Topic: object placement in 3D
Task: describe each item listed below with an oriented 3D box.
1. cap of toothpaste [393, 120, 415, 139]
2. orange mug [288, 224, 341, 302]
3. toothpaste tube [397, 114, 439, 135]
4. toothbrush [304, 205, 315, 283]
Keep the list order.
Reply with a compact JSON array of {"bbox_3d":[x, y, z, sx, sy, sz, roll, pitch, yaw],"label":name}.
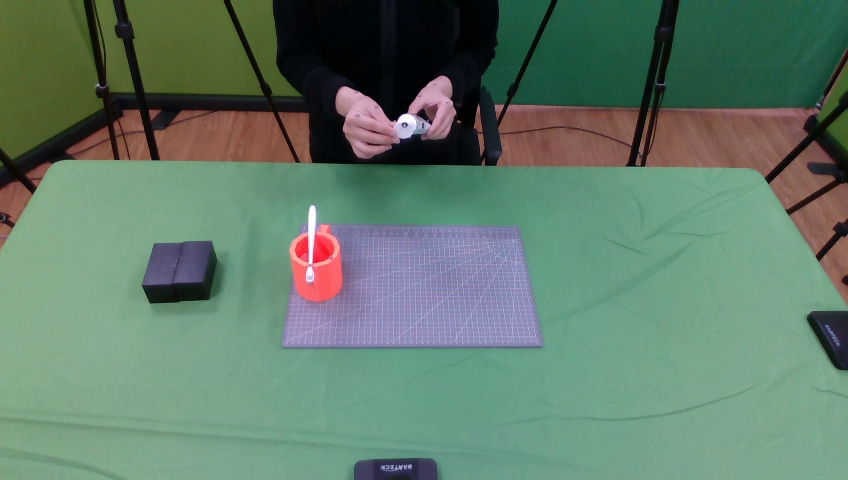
[{"bbox_3d":[-0.033,-0.185,1.001,0.037,0.037,0.011,-3,47,-7],"label":"cap of toothpaste"},{"bbox_3d":[-0.192,0.034,1.094,0.083,0.101,0.125,7,50,2],"label":"orange mug"},{"bbox_3d":[-0.012,-0.207,1.083,0.055,0.034,0.165,39,20,3],"label":"toothpaste tube"},{"bbox_3d":[-0.199,0.001,1.052,0.014,0.017,0.180,-4,46,-4],"label":"toothbrush"}]
